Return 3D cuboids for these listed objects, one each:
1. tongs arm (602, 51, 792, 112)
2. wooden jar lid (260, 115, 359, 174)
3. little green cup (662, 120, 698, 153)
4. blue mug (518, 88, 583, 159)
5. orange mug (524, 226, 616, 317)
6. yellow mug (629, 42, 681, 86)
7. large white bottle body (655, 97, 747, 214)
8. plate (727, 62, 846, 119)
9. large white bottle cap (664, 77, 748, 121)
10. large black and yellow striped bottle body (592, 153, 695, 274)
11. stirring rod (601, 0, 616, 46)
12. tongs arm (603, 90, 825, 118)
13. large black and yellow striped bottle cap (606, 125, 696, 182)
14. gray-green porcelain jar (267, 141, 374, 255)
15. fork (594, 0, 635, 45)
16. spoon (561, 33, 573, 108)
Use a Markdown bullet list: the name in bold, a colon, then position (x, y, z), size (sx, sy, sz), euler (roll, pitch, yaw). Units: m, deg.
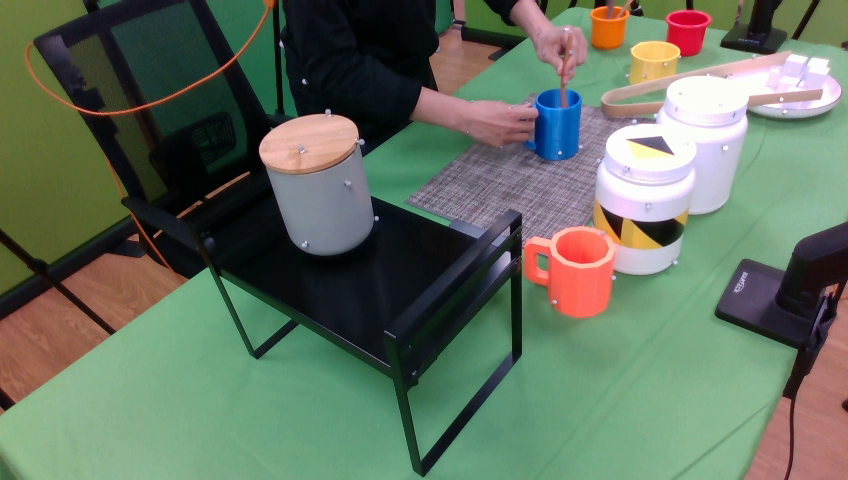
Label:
- **tongs arm**: position (0.552, -0.320, 1.224), size (0.384, 0.027, 0.050), euler (-10, 43, 7)
- **wooden jar lid**: position (-0.124, -0.101, 0.662), size (0.108, 0.021, 0.108), euler (-4, 41, 4)
- **little green cup**: position (0.470, -0.191, 1.117), size (0.061, 0.039, 0.061), euler (-5, 40, 4)
- **blue mug**: position (0.232, -0.213, 1.121), size (0.116, 0.106, 0.082), euler (-8, 40, 0)
- **orange mug**: position (0.201, 0.038, 0.845), size (0.125, 0.101, 0.083), euler (18, 46, 21)
- **yellow mug**: position (0.495, -0.389, 1.321), size (0.100, 0.064, 0.130), euler (-14, 40, -6)
- **large white bottle body**: position (0.431, -0.148, 0.959), size (0.130, 0.185, 0.130), euler (-4, 41, 4)
- **plate**: position (0.709, -0.292, 1.197), size (0.207, 0.039, 0.206), euler (-4, 40, 4)
- **large white bottle cap**: position (0.421, -0.212, 0.905), size (0.115, 0.018, 0.114), euler (-4, 40, 4)
- **large black and yellow striped bottle body**: position (0.313, -0.056, 0.872), size (0.131, 0.185, 0.130), euler (-4, 41, 4)
- **stirring rod**: position (0.452, -0.554, 1.464), size (0.014, 0.006, 0.176), euler (11, 86, 15)
- **tongs arm**: position (0.546, -0.262, 1.163), size (0.386, 0.028, 0.028), euler (-1, 49, 18)
- **large black and yellow striped bottle cap**: position (0.305, -0.119, 0.816), size (0.115, 0.019, 0.114), euler (-5, 41, 5)
- **gray-green porcelain jar**: position (-0.117, -0.054, 0.703), size (0.106, 0.127, 0.105), euler (-4, 40, 4)
- **fork**: position (0.484, -0.552, 1.447), size (0.207, 0.019, 0.028), euler (-51, 46, 17)
- **spoon**: position (0.251, -0.272, 1.076), size (0.021, 0.194, 0.041), euler (9, 43, 21)
